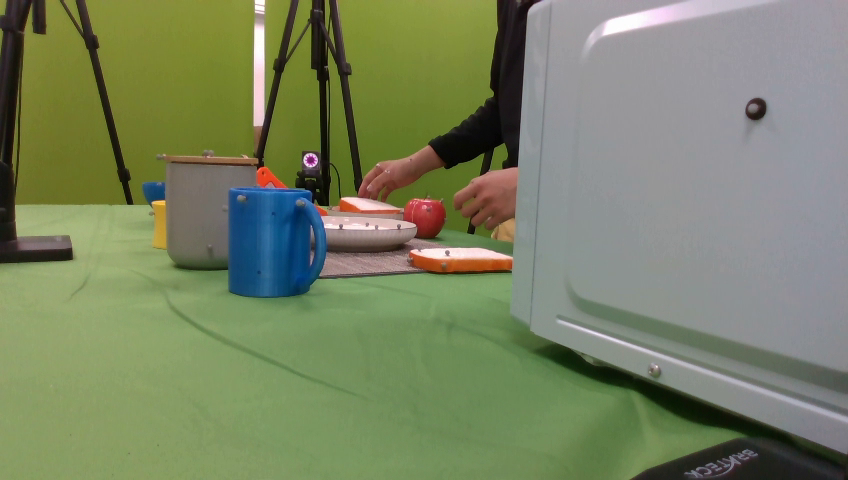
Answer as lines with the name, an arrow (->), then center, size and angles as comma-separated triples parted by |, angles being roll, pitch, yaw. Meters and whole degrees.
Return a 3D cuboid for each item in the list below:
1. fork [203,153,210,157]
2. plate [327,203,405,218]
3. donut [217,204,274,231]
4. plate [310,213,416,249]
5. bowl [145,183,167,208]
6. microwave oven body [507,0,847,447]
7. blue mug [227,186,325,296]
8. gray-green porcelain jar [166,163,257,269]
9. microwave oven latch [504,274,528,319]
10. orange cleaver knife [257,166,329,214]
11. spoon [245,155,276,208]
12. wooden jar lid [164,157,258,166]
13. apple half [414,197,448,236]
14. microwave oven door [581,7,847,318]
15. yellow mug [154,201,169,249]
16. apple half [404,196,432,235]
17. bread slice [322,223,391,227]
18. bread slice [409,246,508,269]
fork -> -0.480, -0.136, 1.411 | 0.028, 0.018, 0.207 | 1, -34, -1
plate -> -0.102, -0.053, 1.299 | 0.209, 0.038, 0.209 | 2, 8, 0
donut -> -0.318, -0.038, 1.080 | 0.099, 0.048, 0.099 | 3, 7, 0
plate -> -0.117, -0.014, 0.967 | 0.208, 0.039, 0.207 | 2, 7, 0
bowl -> -0.459, -0.069, 1.175 | 0.151, 0.077, 0.151 | 3, 7, 0
microwave oven body -> 0.331, -0.042, 0.425 | 0.444, 0.260, 0.324 | -2, 8, -31
blue mug -> -0.147, 0.000, 0.618 | 0.116, 0.106, 0.083 | 7, 9, 32
gray-green porcelain jar -> -0.263, -0.032, 0.754 | 0.106, 0.126, 0.106 | 2, 7, 0
microwave oven latch -> 0.100, 0.041, 0.470 | 0.079, 0.029, 0.030 | -1, 7, -27
orange cleaver knife -> -0.296, -0.086, 1.333 | 0.012, 0.077, 0.212 | 2, -24, 46
spoon -> -0.421, -0.150, 1.540 | 0.042, 0.021, 0.193 | -5, 55, -37
wooden jar lid -> -0.261, -0.093, 0.746 | 0.108, 0.020, 0.108 | 0, 9, 0
apple half -> 0.020, -0.045, 1.121 | 0.082, 0.081, 0.032 | -5, 5, -39
microwave oven door -> 0.295, -0.067, 0.569 | 0.358, 0.243, 0.039 | -3, 8, -31
yellow mug -> -0.337, -0.022, 0.899 | 0.130, 0.064, 0.100 | 8, 9, 34
apple half -> -0.006, -0.048, 1.150 | 0.081, 0.074, 0.053 | -7, 7, -40
bread slice -> -0.116, -0.014, 0.974 | 0.135, 0.018, 0.106 | -6, 11, -42
bread slice -> 0.048, 0.021, 0.816 | 0.132, 0.019, 0.104 | 0, 7, -24
